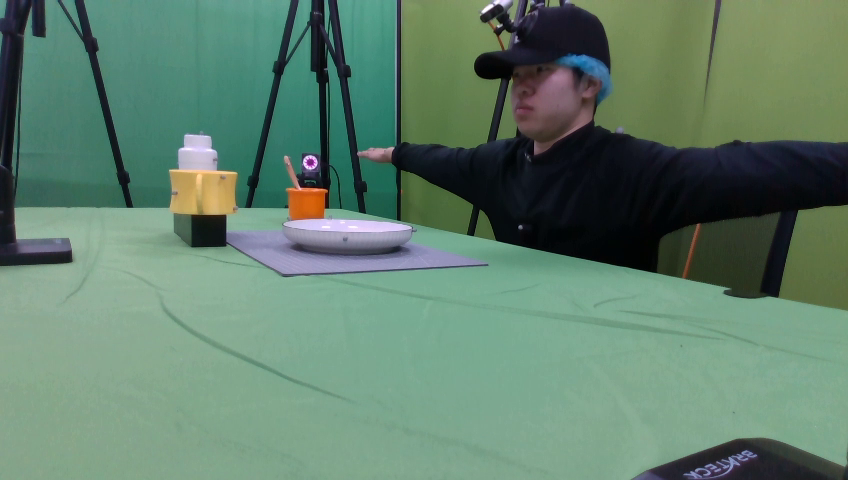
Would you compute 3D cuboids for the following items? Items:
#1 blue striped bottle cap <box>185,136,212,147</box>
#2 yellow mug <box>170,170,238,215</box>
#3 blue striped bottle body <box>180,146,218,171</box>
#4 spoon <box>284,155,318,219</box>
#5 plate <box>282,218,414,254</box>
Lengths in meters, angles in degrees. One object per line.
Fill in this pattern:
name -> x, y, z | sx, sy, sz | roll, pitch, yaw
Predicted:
blue striped bottle cap -> -0.390, -0.169, 1.047 | 0.044, 0.020, 0.044 | 4, 10, 0
yellow mug -> -0.342, -0.074, 0.939 | 0.100, 0.064, 0.130 | 0, 8, -16
blue striped bottle body -> -0.392, -0.118, 1.053 | 0.063, 0.120, 0.063 | 3, 7, 0
spoon -> -0.286, -0.122, 1.367 | 0.042, 0.021, 0.193 | -6, 50, -36
plate -> -0.121, -0.007, 0.971 | 0.208, 0.039, 0.207 | 2, 7, 0
